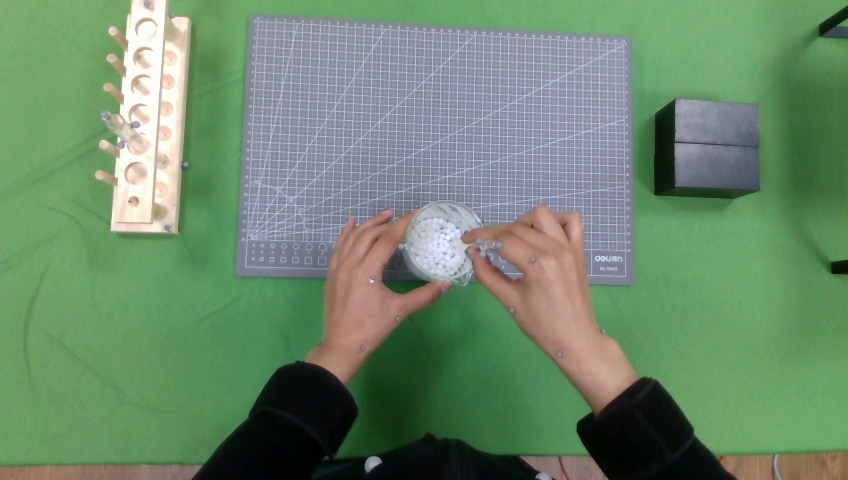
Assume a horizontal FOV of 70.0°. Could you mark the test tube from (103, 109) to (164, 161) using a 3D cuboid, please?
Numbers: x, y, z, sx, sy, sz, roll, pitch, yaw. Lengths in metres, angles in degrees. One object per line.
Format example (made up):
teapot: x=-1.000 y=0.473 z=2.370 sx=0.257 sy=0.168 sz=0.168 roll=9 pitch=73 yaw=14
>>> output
test tube: x=-0.273 y=-0.096 z=0.577 sx=0.017 sy=0.150 sz=0.017 roll=1 pitch=85 yaw=-11

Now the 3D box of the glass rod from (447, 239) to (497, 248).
glass rod: x=0.038 y=0.003 z=0.537 sx=0.008 sy=0.199 sz=0.008 roll=0 pitch=90 yaw=-7

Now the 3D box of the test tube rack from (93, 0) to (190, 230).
test tube rack: x=-0.297 y=-0.136 z=0.629 sx=0.067 sy=0.085 sz=0.241 roll=2 pitch=84 yaw=-5

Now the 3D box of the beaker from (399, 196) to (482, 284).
beaker: x=0.013 y=0.006 z=0.598 sx=0.074 sy=0.100 sz=0.084 roll=-23 pitch=87 yaw=-8
